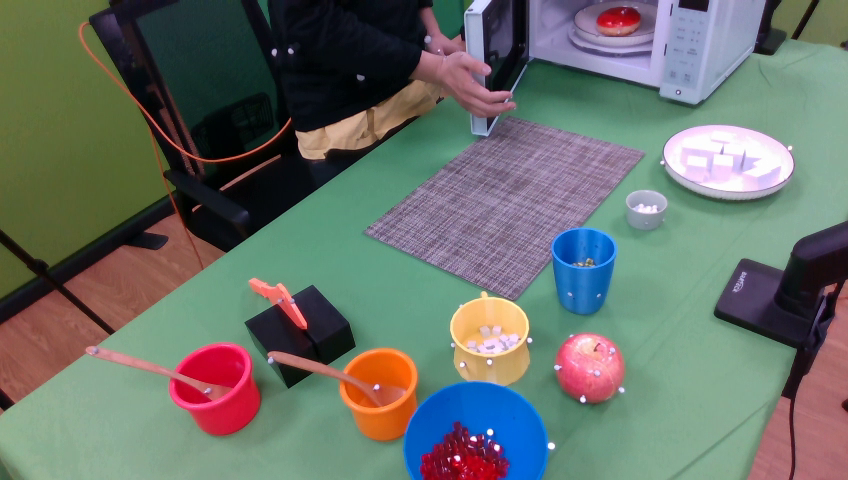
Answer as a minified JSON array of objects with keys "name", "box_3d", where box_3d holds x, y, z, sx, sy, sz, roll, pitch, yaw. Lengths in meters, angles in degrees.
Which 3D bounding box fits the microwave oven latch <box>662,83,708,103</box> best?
[{"name":"microwave oven latch","box_3d":[0.518,-0.296,1.204,0.078,0.029,0.030,28,52,35]}]

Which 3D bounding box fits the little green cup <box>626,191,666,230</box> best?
[{"name":"little green cup","box_3d":[0.352,-0.046,0.963,0.061,0.039,0.061,-4,40,4]}]

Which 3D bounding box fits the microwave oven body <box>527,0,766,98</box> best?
[{"name":"microwave oven body","box_3d":[0.472,-0.513,1.317,0.438,0.261,0.327,26,51,34]}]

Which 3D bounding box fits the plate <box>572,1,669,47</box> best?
[{"name":"plate","box_3d":[0.440,-0.484,1.366,0.209,0.038,0.208,-5,41,5]}]

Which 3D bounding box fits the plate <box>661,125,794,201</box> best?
[{"name":"plate","box_3d":[0.513,-0.128,1.035,0.207,0.039,0.206,-4,40,4]}]

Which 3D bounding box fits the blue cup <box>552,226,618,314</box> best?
[{"name":"blue cup","box_3d":[0.218,0.047,0.826,0.092,0.101,0.092,-6,40,5]}]

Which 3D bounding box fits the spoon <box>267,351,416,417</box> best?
[{"name":"spoon","box_3d":[-0.091,0.163,0.699,0.021,0.195,0.041,-44,30,27]}]

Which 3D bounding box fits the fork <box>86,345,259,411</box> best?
[{"name":"fork","box_3d":[-0.298,0.166,0.728,0.209,0.018,0.028,28,47,-23]}]

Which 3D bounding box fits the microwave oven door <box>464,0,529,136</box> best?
[{"name":"microwave oven door","box_3d":[0.157,-0.410,1.236,0.039,0.245,0.355,10,43,19]}]

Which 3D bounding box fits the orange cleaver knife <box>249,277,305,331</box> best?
[{"name":"orange cleaver knife","box_3d":[-0.210,0.088,0.855,0.012,0.077,0.210,-28,15,-24]}]

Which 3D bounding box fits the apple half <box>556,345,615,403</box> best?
[{"name":"apple half","box_3d":[0.181,0.167,0.709,0.080,0.081,0.033,29,50,35]}]

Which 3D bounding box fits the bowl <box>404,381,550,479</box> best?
[{"name":"bowl","box_3d":[0.058,0.235,0.645,0.151,0.077,0.150,-4,39,4]}]

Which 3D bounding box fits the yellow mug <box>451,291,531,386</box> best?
[{"name":"yellow mug","box_3d":[0.086,0.120,0.786,0.100,0.064,0.130,-7,39,1]}]

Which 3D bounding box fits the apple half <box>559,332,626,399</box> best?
[{"name":"apple half","box_3d":[0.209,0.147,0.730,0.080,0.075,0.053,26,48,38]}]
